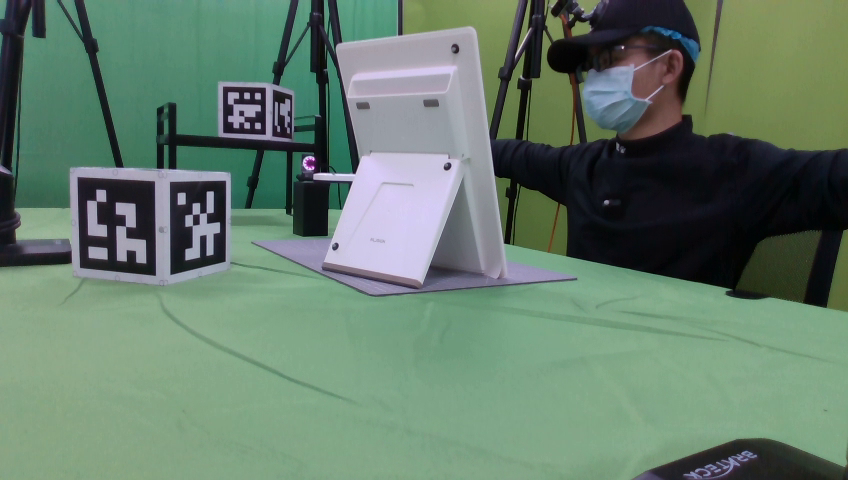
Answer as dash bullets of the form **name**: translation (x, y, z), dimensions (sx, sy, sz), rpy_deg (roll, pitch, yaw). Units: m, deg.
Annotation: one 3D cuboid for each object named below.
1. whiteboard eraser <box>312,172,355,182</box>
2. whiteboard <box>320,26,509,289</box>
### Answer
- **whiteboard eraser**: translation (-0.165, -0.121, 1.155), dimensions (0.102, 0.019, 0.041), rpy_deg (-2, 7, -34)
- **whiteboard**: translation (-0.046, -0.076, 0.720), dimensions (0.216, 0.305, 0.144), rpy_deg (9, 29, 39)
